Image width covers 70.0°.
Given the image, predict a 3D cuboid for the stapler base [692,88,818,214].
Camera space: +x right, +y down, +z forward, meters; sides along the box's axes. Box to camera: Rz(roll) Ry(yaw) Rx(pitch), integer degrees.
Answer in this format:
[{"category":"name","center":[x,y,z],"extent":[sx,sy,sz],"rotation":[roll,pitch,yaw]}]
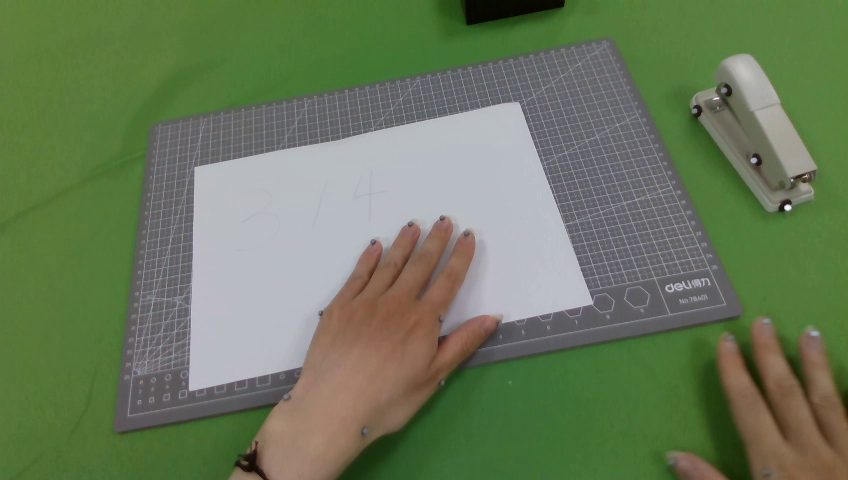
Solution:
[{"category":"stapler base","center":[0.267,-0.082,0.491],"extent":[0.041,0.024,0.129],"rotation":[-18,60,-1]}]

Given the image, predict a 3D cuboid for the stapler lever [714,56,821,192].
[{"category":"stapler lever","center":[0.265,-0.093,0.469],"extent":[0.027,0.040,0.117],"rotation":[-19,60,-1]}]
